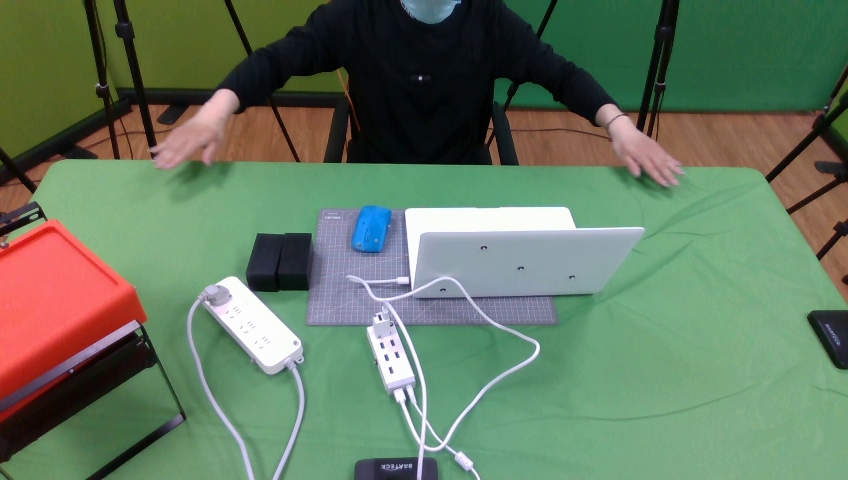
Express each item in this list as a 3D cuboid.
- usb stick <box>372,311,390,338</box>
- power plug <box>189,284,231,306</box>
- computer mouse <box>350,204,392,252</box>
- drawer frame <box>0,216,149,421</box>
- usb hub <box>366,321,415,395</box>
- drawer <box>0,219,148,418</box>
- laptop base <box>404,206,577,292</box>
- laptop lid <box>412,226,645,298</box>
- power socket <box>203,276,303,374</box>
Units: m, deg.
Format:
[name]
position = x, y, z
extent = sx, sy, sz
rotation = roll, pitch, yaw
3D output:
[usb stick]
position = -0.073, 0.145, 1.012
extent = 0.027, 0.059, 0.021
rotation = -13, 50, -18
[power plug]
position = -0.368, 0.100, 1.037
extent = 0.072, 0.053, 0.035
rotation = -24, 54, -26
[computer mouse]
position = -0.104, -0.027, 1.202
extent = 0.063, 0.041, 0.116
rotation = 11, 51, 4
[drawer frame]
position = -0.510, 0.093, 0.780
extent = 0.201, 0.083, 0.213
rotation = 31, 52, 23
[usb hub]
position = -0.056, 0.194, 1.007
extent = 0.049, 0.025, 0.124
rotation = -12, 49, -15
[drawer]
position = -0.509, 0.093, 0.783
extent = 0.193, 0.073, 0.211
rotation = 32, 53, 24
[laptop base]
position = 0.143, 0.018, 1.196
extent = 0.355, 0.023, 0.234
rotation = -1, 43, -6
[laptop lid]
position = 0.161, 0.042, 1.012
extent = 0.357, 0.242, 0.013
rotation = 0, 59, -7
[power socket]
position = -0.296, 0.141, 1.034
extent = 0.072, 0.033, 0.225
rotation = -35, 58, -30
